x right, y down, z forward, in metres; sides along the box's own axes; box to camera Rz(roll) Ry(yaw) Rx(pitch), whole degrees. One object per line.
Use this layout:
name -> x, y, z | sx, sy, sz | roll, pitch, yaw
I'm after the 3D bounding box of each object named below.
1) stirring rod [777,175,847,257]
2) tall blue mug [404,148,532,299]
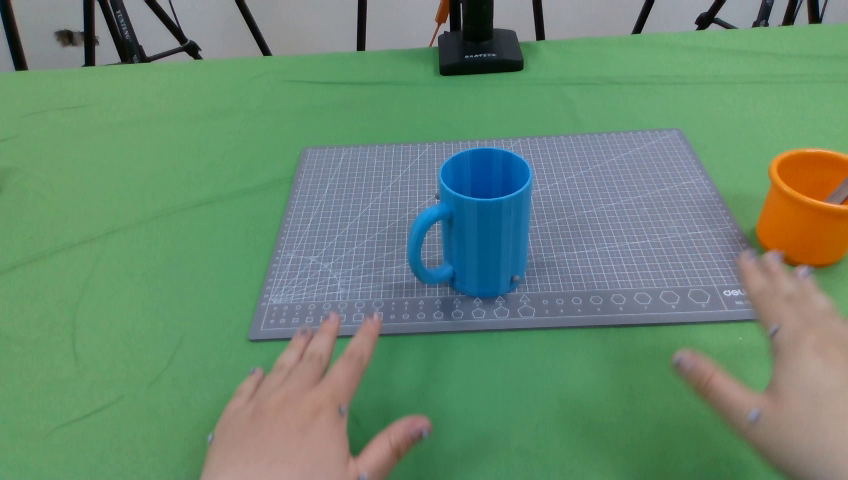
stirring rod -> 0.373, -0.054, 0.522 | 0.176, 0.006, 0.014 | -52, 38, 13
tall blue mug -> 0.042, -0.005, 0.511 | 0.077, 0.109, 0.107 | 20, 47, 24
